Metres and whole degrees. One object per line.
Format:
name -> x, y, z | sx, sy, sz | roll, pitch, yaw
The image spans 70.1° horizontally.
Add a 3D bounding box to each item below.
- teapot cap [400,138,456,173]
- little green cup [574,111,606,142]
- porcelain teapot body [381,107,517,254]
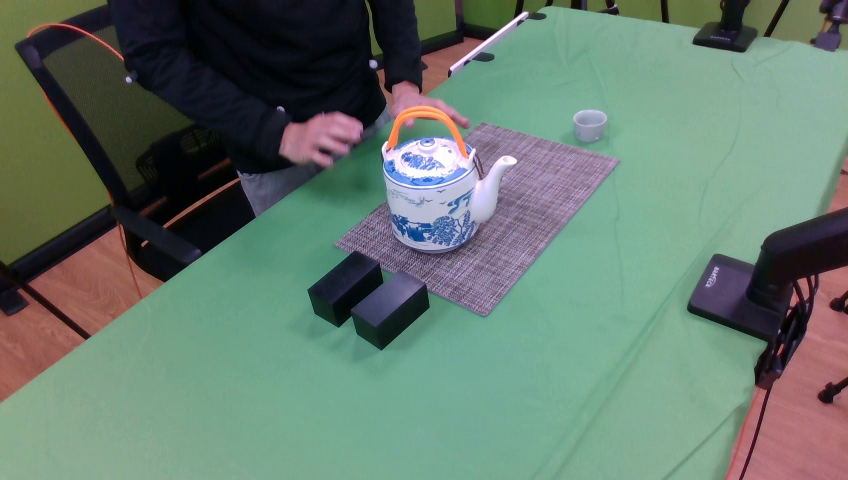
teapot cap -> 0.006, -0.127, 0.893 | 0.085, 0.044, 0.084 | -3, 44, 3
little green cup -> 0.318, -0.217, 1.164 | 0.061, 0.039, 0.061 | -3, 38, 3
porcelain teapot body -> 0.038, -0.095, 0.912 | 0.205, 0.226, 0.145 | 5, 42, 14
